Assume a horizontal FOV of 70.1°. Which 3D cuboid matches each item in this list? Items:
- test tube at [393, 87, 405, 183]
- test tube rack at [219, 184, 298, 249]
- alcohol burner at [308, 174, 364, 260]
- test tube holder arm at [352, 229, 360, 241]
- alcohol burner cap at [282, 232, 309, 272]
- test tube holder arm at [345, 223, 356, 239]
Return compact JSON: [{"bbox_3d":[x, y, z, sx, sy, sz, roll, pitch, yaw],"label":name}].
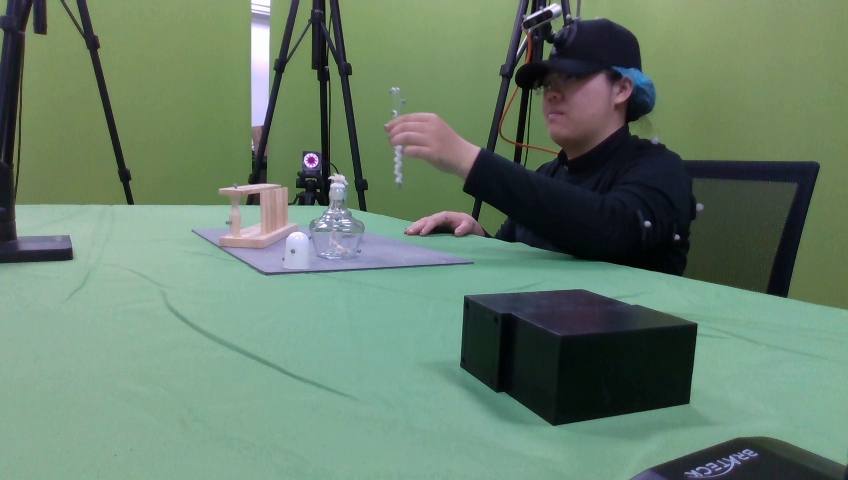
[{"bbox_3d":[-0.040,-0.166,0.959,0.017,0.150,0.017,-1,11,0],"label":"test tube"},{"bbox_3d":[-0.266,-0.046,1.002,0.067,0.085,0.242,3,7,0],"label":"test tube rack"},{"bbox_3d":[-0.121,-0.033,0.841,0.078,0.119,0.078,3,5,0],"label":"alcohol burner"},{"bbox_3d":[-0.120,-0.009,1.040,0.010,0.015,0.087,36,0,-12],"label":"test tube holder arm"},{"bbox_3d":[-0.157,0.014,0.740,0.034,0.048,0.034,2,6,0],"label":"alcohol burner cap"},{"bbox_3d":[-0.132,-0.018,1.083,0.013,0.015,0.178,36,0,-13],"label":"test tube holder arm"}]
